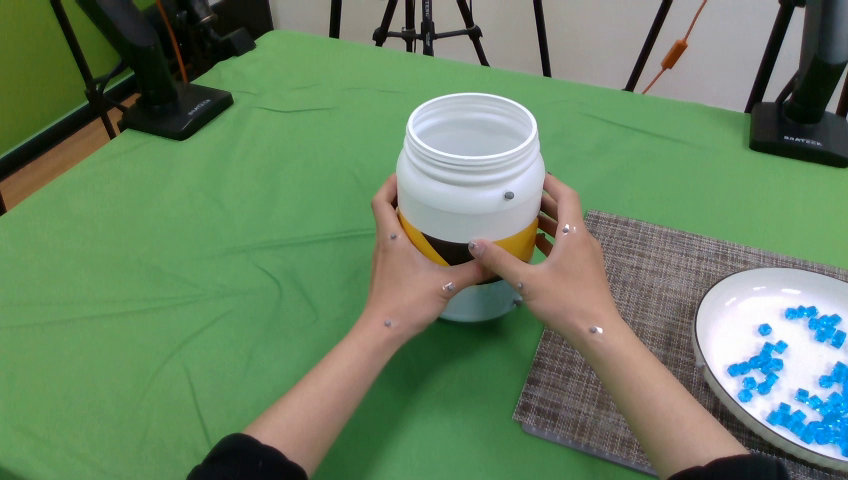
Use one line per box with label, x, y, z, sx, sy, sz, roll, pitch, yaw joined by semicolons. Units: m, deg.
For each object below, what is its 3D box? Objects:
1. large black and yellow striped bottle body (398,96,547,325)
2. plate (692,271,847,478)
large black and yellow striped bottle body;0.043;-0.026;0.560;0.131;0.185;0.129;-1;42;1
plate;0.336;0.111;0.518;0.208;0.039;0.205;0;42;1
